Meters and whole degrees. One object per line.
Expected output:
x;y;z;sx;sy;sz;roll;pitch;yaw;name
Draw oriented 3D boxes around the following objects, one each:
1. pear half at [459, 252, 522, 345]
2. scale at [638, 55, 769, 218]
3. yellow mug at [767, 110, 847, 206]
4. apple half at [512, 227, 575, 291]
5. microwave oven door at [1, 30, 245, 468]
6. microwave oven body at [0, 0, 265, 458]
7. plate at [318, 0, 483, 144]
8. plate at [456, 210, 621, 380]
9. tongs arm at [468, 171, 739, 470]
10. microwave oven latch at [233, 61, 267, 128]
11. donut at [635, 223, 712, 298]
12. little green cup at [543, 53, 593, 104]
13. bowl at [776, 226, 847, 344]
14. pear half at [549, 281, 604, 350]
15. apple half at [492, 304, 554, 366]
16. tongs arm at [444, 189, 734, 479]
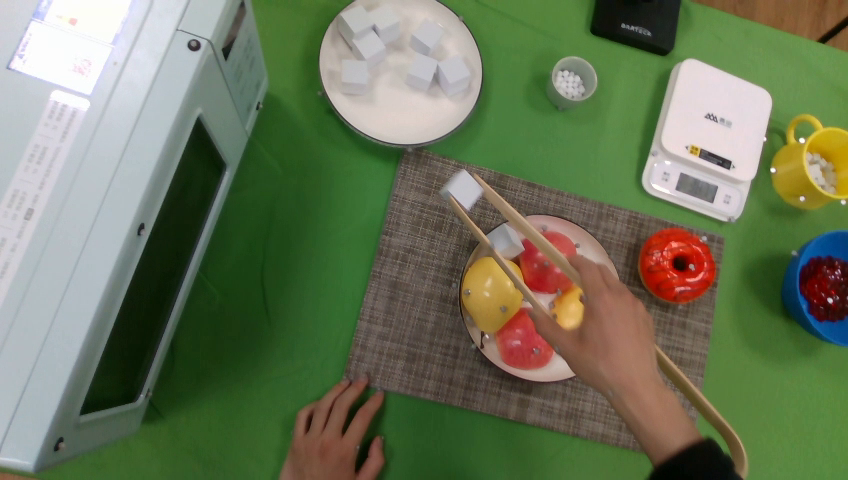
0.081;0.071;0.718;0.077;0.056;0.109;9;84;-17;pear half
0.384;-0.142;0.830;0.149;0.031;0.200;20;79;-5;scale
0.533;-0.117;0.832;0.100;0.064;0.130;-17;83;-11;yellow mug
0.149;0.021;0.741;0.075;0.053;0.080;3;84;-5;apple half
-0.260;0.013;0.574;0.039;0.244;0.354;18;78;-6;microwave oven door
-0.387;-0.070;0.572;0.327;0.260;0.440;18;79;-6;microwave oven body
-0.030;-0.218;0.772;0.208;0.039;0.207;2;81;-9;plate
0.140;0.067;0.750;0.209;0.038;0.208;2;81;-9;plate
0.173;0.069;0.619;0.028;0.028;0.385;-37;75;-19;tongs arm
-0.211;-0.175;0.716;0.030;0.029;0.079;20;79;-6;microwave oven latch
0.321;0.027;0.783;0.099;0.048;0.098;1;80;-6;donut
0.189;-0.212;0.806;0.062;0.038;0.061;2;80;-9;little green cup
0.524;0.061;0.797;0.152;0.077;0.151;1;82;-8;bowl
0.189;0.091;0.748;0.070;0.031;0.087;15;77;7;pear half
0.123;0.115;0.731;0.081;0.033;0.081;3;74;-10;apple half
0.154;0.083;0.612;0.051;0.027;0.382;-33;74;-15;tongs arm
